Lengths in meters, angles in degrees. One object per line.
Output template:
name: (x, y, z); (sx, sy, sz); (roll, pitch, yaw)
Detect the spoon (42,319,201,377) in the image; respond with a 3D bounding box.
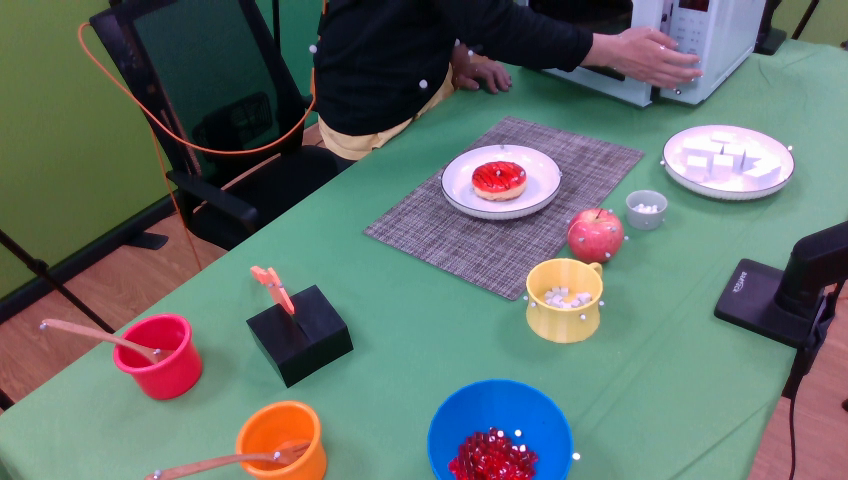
spoon: (-0.385, 0.135, 0.779); (0.195, 0.021, 0.041); (29, 38, -27)

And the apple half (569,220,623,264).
apple half: (0.251, 0.010, 0.884); (0.081, 0.081, 0.032); (3, 37, 12)

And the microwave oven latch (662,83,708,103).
microwave oven latch: (0.517, -0.296, 1.204); (0.078, 0.029, 0.030); (27, 52, 35)

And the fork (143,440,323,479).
fork: (-0.190, 0.231, 0.631); (0.028, 0.018, 0.209); (38, 14, 37)

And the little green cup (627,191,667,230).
little green cup: (0.352, -0.046, 0.963); (0.061, 0.039, 0.061); (-4, 40, 4)

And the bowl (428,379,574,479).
bowl: (0.082, 0.233, 0.644); (0.151, 0.077, 0.150); (-4, 40, 4)

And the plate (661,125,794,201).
plate: (0.514, -0.128, 1.035); (0.207, 0.039, 0.206); (-4, 40, 4)

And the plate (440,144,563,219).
plate: (0.134, -0.098, 1.051); (0.209, 0.038, 0.208); (-4, 40, 4)

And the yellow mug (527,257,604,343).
yellow mug: (0.201, 0.072, 0.825); (0.131, 0.064, 0.099); (-32, 46, -27)

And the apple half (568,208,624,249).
apple half: (0.259, -0.014, 0.914); (0.080, 0.075, 0.053); (0, 36, 15)

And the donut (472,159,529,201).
donut: (0.132, -0.105, 1.043); (0.099, 0.048, 0.098); (-5, 38, 4)

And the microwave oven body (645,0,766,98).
microwave oven body: (0.472, -0.513, 1.317); (0.438, 0.261, 0.327); (26, 51, 34)

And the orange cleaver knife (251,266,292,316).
orange cleaver knife: (-0.221, 0.071, 0.873); (0.012, 0.077, 0.210); (-25, 11, -21)

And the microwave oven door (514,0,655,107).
microwave oven door: (0.323, -0.440, 1.246); (0.039, 0.245, 0.352); (-32, 46, -25)
